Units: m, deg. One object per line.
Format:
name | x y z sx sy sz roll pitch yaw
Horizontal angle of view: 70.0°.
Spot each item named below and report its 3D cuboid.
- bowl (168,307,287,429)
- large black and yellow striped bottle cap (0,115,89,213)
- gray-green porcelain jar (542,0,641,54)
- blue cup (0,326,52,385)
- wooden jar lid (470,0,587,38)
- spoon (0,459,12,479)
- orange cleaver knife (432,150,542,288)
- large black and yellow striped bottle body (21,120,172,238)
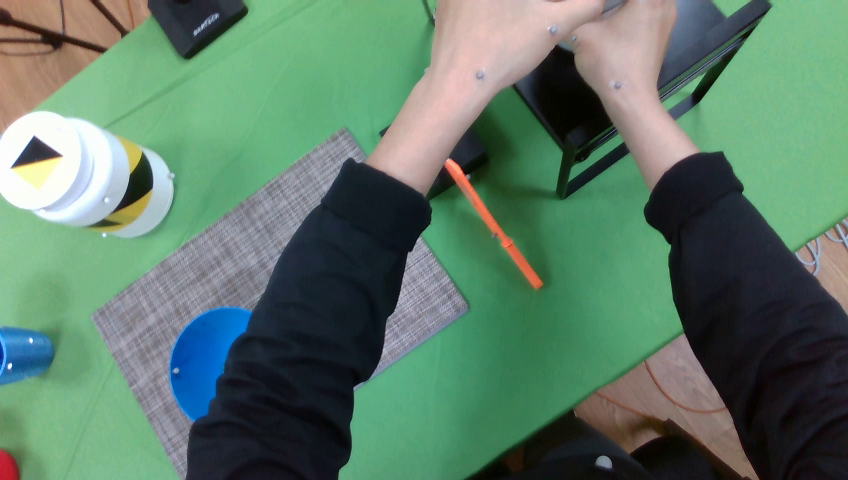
bowl | -0.239 0.161 0.781 0.151 0.077 0.151 -1 83 9
large black and yellow striped bottle cap | -0.450 -0.089 0.709 0.115 0.019 0.114 -1 85 10
gray-green porcelain jar | 0.151 -0.241 0.559 0.105 0.127 0.105 -1 83 10
blue cup | -0.571 0.157 0.828 0.092 0.100 0.092 -1 83 7
wooden jar lid | 0.082 -0.207 0.451 0.107 0.021 0.109 9 109 29
spoon | -0.657 0.347 0.799 0.194 0.021 0.041 -20 78 -38
orange cleaver knife | 0.078 -0.026 0.752 0.012 0.076 0.213 -39 109 -1
large black and yellow striped bottle body | -0.437 -0.077 0.791 0.130 0.185 0.130 -1 82 9
